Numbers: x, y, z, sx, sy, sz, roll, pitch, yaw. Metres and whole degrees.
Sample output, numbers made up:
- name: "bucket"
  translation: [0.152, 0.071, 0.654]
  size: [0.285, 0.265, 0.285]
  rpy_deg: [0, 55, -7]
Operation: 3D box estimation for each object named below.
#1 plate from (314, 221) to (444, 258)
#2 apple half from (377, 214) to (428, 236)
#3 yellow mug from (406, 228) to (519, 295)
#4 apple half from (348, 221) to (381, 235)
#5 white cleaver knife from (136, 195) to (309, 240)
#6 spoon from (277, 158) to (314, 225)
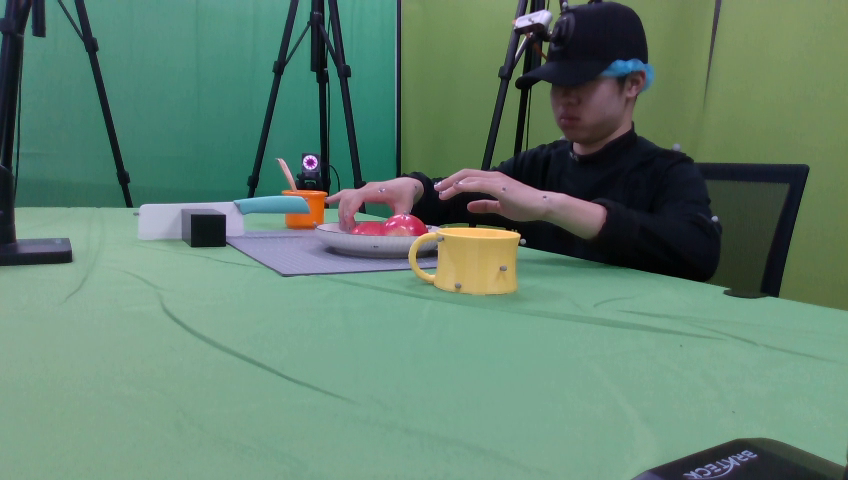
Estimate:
- name: "plate"
  translation: [-0.066, -0.002, 0.947]
  size: [0.209, 0.038, 0.209]
  rpy_deg: [3, 7, 0]
- name: "apple half"
  translation: [-0.034, -0.013, 0.924]
  size: [0.080, 0.053, 0.075]
  rpy_deg: [5, 10, 16]
- name: "yellow mug"
  translation: [0.044, 0.022, 0.707]
  size: [0.131, 0.064, 0.100]
  rpy_deg: [2, 7, 5]
- name: "apple half"
  translation: [-0.087, -0.014, 0.983]
  size: [0.081, 0.033, 0.081]
  rpy_deg: [3, 7, 0]
- name: "white cleaver knife"
  translation: [-0.337, -0.039, 1.037]
  size: [0.288, 0.066, 0.021]
  rpy_deg: [-6, 15, -29]
- name: "spoon"
  translation: [-0.272, -0.103, 1.260]
  size: [0.042, 0.193, 0.021]
  rpy_deg: [-5, -34, -33]
